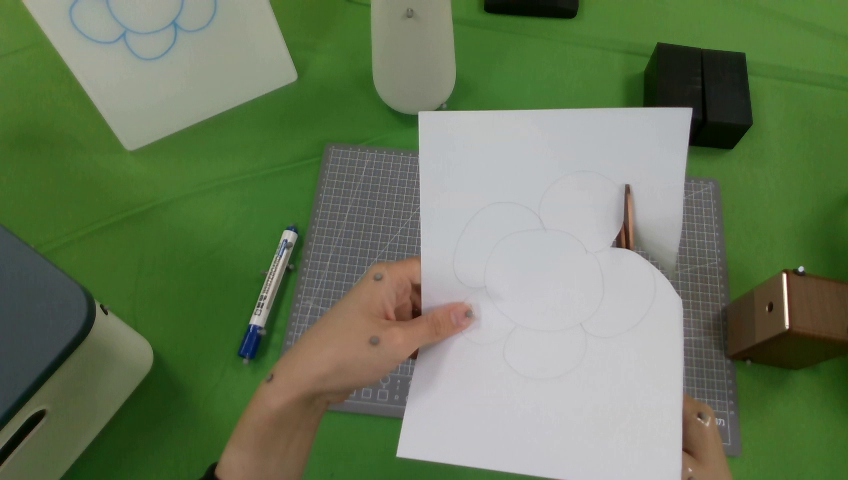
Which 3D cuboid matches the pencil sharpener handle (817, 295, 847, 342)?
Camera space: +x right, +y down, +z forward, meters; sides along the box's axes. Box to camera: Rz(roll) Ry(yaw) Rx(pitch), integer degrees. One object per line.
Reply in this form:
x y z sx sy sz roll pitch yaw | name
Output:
0.393 0.076 0.555 0.030 0.068 0.035 10 61 1 | pencil sharpener handle

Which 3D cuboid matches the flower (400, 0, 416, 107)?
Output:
-0.023 -0.277 0.575 0.044 0.365 0.038 -1 49 3 | flower

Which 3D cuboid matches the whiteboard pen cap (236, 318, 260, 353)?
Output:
-0.174 0.095 0.604 0.018 0.018 0.033 12 63 5 | whiteboard pen cap

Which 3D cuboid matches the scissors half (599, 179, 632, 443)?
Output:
0.120 0.048 0.374 0.013 0.176 0.039 -3 22 1 | scissors half

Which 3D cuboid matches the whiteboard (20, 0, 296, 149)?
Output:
-0.305 -0.294 0.647 0.217 0.308 0.142 -27 50 -10 | whiteboard

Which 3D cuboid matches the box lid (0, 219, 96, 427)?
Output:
-0.468 0.052 0.465 0.370 0.015 0.262 31 70 12 | box lid

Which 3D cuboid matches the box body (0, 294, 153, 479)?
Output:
-0.466 0.082 0.533 0.362 0.161 0.253 31 71 12 | box body

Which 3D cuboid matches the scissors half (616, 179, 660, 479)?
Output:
0.121 0.051 0.352 0.013 0.040 0.175 -3 85 -4 | scissors half

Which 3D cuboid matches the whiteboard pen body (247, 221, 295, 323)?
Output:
-0.161 0.042 0.628 0.017 0.017 0.140 12 66 6 | whiteboard pen body

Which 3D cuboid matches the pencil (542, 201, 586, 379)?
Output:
0.146 0.048 0.630 0.012 0.012 0.192 -7 69 -3 | pencil

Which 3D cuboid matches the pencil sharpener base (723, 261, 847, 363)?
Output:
0.342 0.071 0.568 0.077 0.107 0.061 10 67 1 | pencil sharpener base

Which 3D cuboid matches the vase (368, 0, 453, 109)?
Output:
-0.017 -0.231 0.646 0.098 0.201 0.097 0 66 1 | vase
